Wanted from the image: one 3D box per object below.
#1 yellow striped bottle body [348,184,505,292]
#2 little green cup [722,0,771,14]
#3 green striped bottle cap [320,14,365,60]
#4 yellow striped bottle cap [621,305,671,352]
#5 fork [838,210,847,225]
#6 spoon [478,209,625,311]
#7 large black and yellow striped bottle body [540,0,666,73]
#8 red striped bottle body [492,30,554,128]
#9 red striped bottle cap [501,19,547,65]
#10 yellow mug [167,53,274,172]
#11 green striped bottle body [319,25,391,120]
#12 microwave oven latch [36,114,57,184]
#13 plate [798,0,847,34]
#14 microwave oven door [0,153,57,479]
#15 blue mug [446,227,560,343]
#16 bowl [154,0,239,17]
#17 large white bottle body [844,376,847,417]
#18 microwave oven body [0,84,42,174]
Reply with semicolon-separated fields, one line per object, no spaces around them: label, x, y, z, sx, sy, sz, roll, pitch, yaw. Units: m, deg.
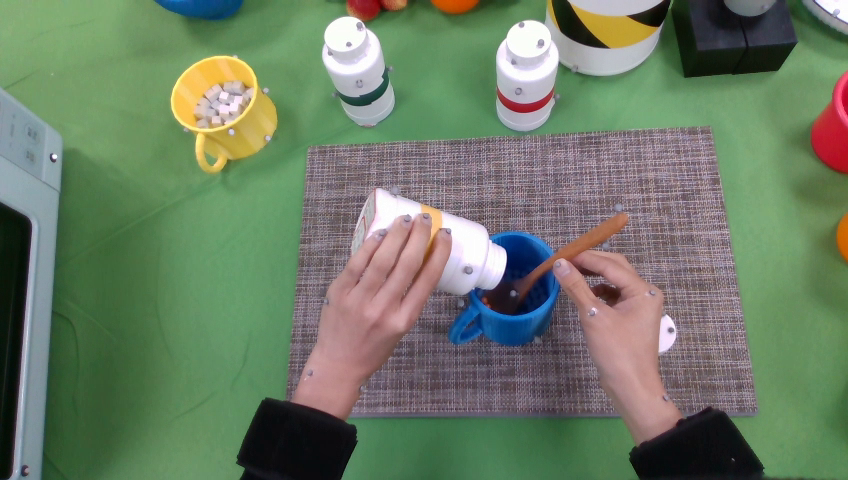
yellow striped bottle body;0.005;0.003;0.490;0.121;0.063;0.062;18;71;-17
little green cup;0.343;-0.271;0.635;0.061;0.039;0.061;-1;68;4
green striped bottle cap;-0.083;-0.207;0.616;0.044;0.020;0.044;-2;69;5
yellow striped bottle cap;0.214;0.085;0.585;0.044;0.019;0.044;-2;70;6
fork;0.460;0.004;0.518;0.028;0.019;0.205;-39;27;-7
spoon;0.101;0.025;0.523;0.022;0.194;0.041;10;59;-24
large black and yellow striped bottle body;0.192;-0.279;0.632;0.130;0.185;0.130;-2;70;6
red striped bottle body;0.104;-0.175;0.639;0.063;0.120;0.062;-3;69;8
red striped bottle cap;0.097;-0.193;0.590;0.044;0.018;0.044;-1;69;2
yellow mug;-0.236;-0.140;0.694;0.100;0.064;0.130;8;72;9
green striped bottle body;-0.076;-0.188;0.664;0.063;0.120;0.063;-2;70;5
microwave oven latch;-0.446;-0.103;0.700;0.030;0.030;0.078;-9;70;3
plate;0.513;-0.308;0.684;0.209;0.038;0.207;-2;71;6
microwave oven door;-0.426;0.064;0.529;0.039;0.245;0.353;-11;69;3
blue mug;0.067;0.055;0.564;0.116;0.106;0.081;-38;69;-8
bowl;-0.280;-0.338;0.764;0.151;0.077;0.150;-2;70;6
large white bottle body;0.433;0.123;0.459;0.130;0.186;0.129;-2;69;6
microwave oven body;-0.575;0.054;0.555;0.326;0.262;0.438;-11;70;2
